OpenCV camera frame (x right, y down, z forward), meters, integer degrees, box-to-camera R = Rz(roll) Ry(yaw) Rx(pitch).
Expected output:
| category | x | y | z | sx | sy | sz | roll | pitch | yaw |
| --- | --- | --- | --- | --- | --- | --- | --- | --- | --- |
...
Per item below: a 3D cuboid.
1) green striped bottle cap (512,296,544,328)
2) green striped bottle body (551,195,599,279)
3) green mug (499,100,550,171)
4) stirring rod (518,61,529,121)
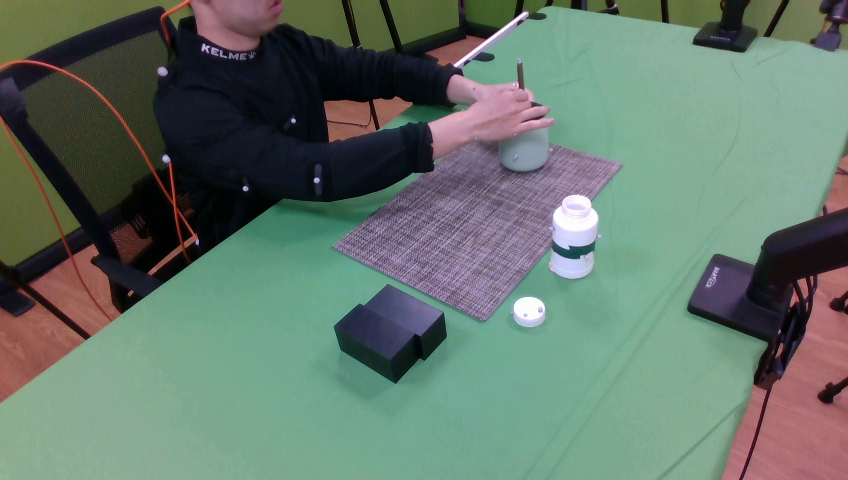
| category | x | y | z | sx | sy | sz | roll | pitch | yaw |
| --- | --- | --- | --- | --- | --- | --- | --- | --- | --- |
| green striped bottle cap | 0.144 | 0.099 | 0.837 | 0.044 | 0.020 | 0.044 | -1 | 43 | 2 |
| green striped bottle body | 0.217 | -0.007 | 0.870 | 0.063 | 0.120 | 0.063 | -4 | 41 | 4 |
| green mug | 0.183 | -0.198 | 1.101 | 0.092 | 0.105 | 0.125 | 1 | 41 | 9 |
| stirring rod | 0.180 | -0.233 | 1.076 | 0.006 | 0.177 | 0.014 | 13 | 45 | 30 |
